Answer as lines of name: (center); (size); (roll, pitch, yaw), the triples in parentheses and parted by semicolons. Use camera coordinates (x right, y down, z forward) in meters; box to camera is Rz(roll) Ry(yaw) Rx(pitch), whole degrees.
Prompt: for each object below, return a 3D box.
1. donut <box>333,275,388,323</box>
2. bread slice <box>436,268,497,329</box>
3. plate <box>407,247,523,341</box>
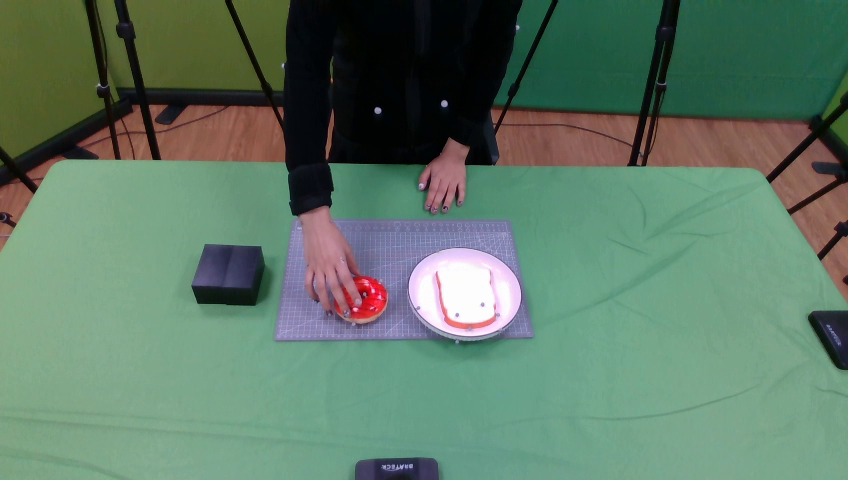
donut: (-0.112, 0.103, 1.072); (0.099, 0.048, 0.098); (0, 45, 0)
bread slice: (0.080, 0.103, 1.092); (0.105, 0.019, 0.130); (-3, 46, -5)
plate: (0.073, 0.099, 1.093); (0.209, 0.038, 0.208); (2, 46, -2)
